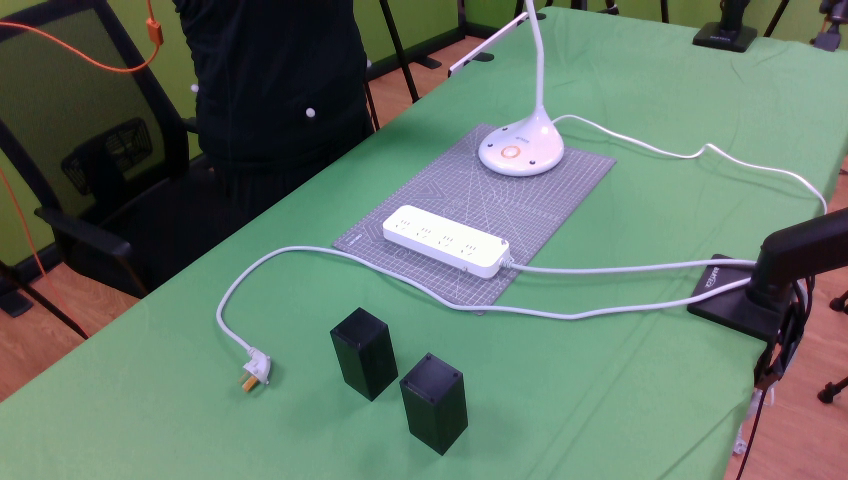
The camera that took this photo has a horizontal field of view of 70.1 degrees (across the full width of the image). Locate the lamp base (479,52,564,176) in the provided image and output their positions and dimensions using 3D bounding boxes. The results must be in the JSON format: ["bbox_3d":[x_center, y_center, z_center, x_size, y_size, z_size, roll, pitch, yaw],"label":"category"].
[{"bbox_3d":[0.181,-0.235,1.094,0.159,0.181,0.179,18,44,27],"label":"lamp base"}]

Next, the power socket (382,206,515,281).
[{"bbox_3d":[0.032,0.002,0.950,0.225,0.033,0.072,21,49,29],"label":"power socket"}]

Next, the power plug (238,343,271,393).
[{"bbox_3d":[-0.230,0.172,0.801,0.072,0.035,0.053,9,51,50],"label":"power plug"}]
